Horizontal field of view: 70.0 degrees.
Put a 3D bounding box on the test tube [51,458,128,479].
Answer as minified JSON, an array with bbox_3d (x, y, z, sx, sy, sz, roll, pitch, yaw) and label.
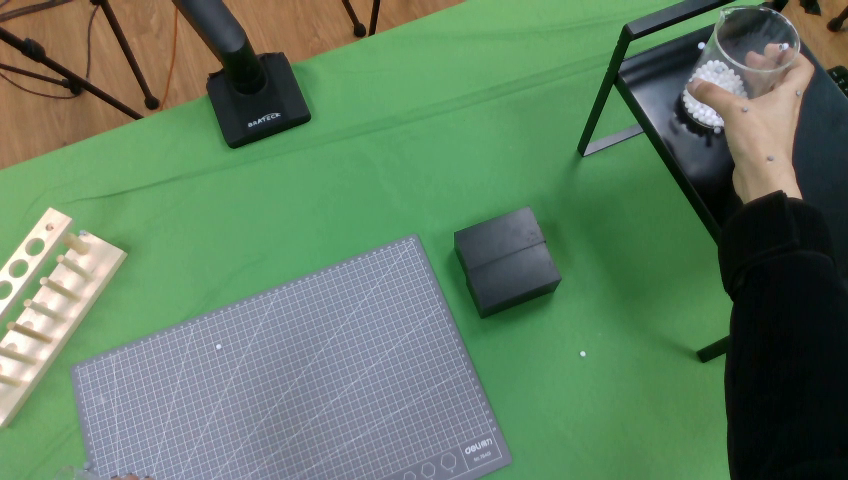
[{"bbox_3d":[-0.226,0.188,0.455,0.017,0.151,0.017,-4,58,6],"label":"test tube"}]

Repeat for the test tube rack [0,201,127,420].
[{"bbox_3d":[-0.467,0.082,0.712,0.066,0.086,0.241,25,73,11],"label":"test tube rack"}]

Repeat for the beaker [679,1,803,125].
[{"bbox_3d":[0.293,-0.165,0.578,0.074,0.101,0.083,-28,70,-9],"label":"beaker"}]
